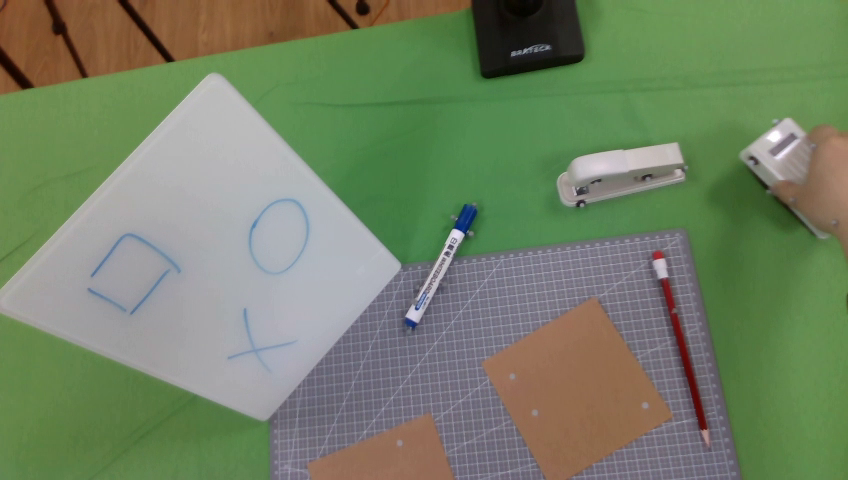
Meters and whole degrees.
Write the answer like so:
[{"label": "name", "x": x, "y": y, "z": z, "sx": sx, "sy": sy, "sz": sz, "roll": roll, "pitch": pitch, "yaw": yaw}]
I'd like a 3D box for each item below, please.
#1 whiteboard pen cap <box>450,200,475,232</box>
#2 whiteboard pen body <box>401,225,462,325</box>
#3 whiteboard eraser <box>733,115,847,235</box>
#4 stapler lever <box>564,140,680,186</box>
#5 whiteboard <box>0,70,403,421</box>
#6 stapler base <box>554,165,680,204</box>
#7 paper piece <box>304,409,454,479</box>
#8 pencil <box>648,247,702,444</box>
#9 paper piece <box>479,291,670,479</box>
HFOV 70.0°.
[{"label": "whiteboard pen cap", "x": 0.041, "y": -0.025, "z": 0.655, "sx": 0.018, "sy": 0.018, "sz": 0.033, "roll": 23, "pitch": 78, "yaw": 14}, {"label": "whiteboard pen body", "x": 0.014, "y": 0.025, "z": 0.645, "sx": 0.017, "sy": 0.017, "sz": 0.140, "roll": 26, "pitch": 79, "yaw": 15}, {"label": "whiteboard eraser", "x": 0.358, "y": -0.062, "z": 0.582, "sx": 0.055, "sy": 0.042, "sz": 0.112, "roll": -40, "pitch": 78, "yaw": -1}, {"label": "stapler lever", "x": 0.204, "y": -0.080, "z": 0.622, "sx": 0.118, "sy": 0.040, "sz": 0.026, "roll": -13, "pitch": 75, "yaw": 4}, {"label": "whiteboard", "x": -0.197, "y": 0.002, "z": 0.565, "sx": 0.217, "sy": 0.309, "sz": 0.142, "roll": -48, "pitch": 52, "yaw": -6}, {"label": "stapler base", "x": 0.206, "y": -0.073, "z": 0.645, "sx": 0.130, "sy": 0.024, "sz": 0.041, "roll": -13, "pitch": 75, "yaw": 3}, {"label": "paper piece", "x": -0.035, "y": 0.253, "z": 0.590, "sx": 0.135, "sy": 0.004, "sz": 0.135, "roll": -22, "pitch": 73, "yaw": 1}, {"label": "pencil", "x": 0.246, "y": 0.099, "z": 0.592, "sx": 0.012, "sy": 0.012, "sz": 0.193, "roll": -10, "pitch": 75, "yaw": 6}, {"label": "paper piece", "x": 0.144, "y": 0.142, "z": 0.596, "sx": 0.136, "sy": 0.009, "sz": 0.137, "roll": -30, "pitch": 73, "yaw": 3}]
